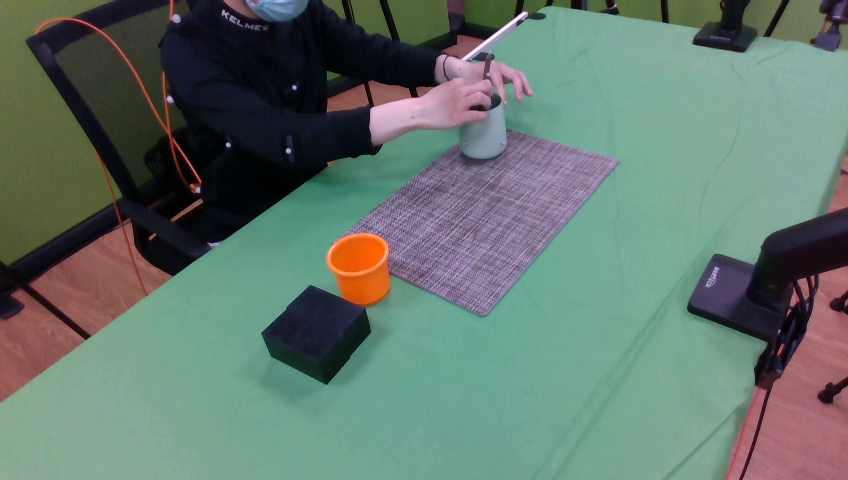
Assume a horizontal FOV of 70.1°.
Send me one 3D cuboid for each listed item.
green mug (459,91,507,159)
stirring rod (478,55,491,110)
[{"bbox_3d":[0.117,-0.225,1.144,0.092,0.105,0.125,14,45,24],"label":"green mug"},{"bbox_3d":[0.104,-0.248,1.100,0.006,0.176,0.014,23,35,25],"label":"stirring rod"}]
